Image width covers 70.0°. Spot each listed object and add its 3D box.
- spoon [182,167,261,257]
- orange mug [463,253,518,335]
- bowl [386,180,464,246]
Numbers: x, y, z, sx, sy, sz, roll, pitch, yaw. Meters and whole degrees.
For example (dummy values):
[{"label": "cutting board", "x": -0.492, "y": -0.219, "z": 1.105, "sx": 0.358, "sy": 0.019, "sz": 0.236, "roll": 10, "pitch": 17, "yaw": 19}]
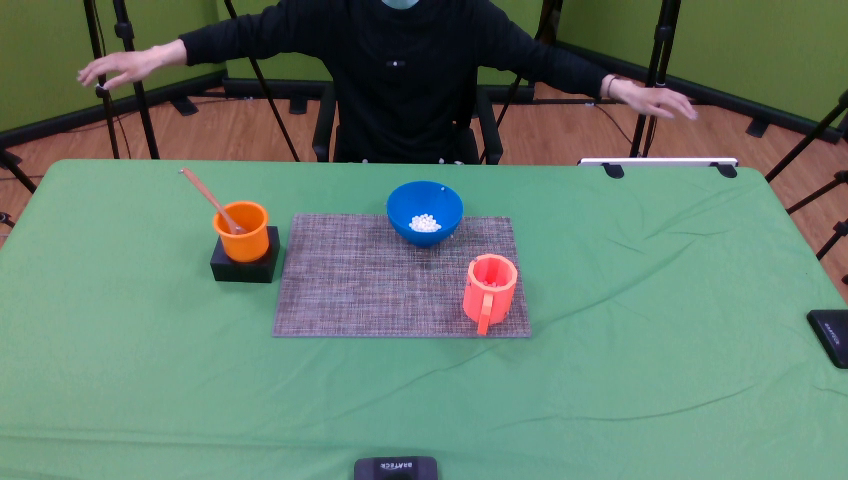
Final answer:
[{"label": "spoon", "x": -0.354, "y": -0.049, "z": 1.061, "sx": 0.041, "sy": 0.194, "sz": 0.021, "roll": -45, "pitch": 19, "yaw": -31}, {"label": "orange mug", "x": 0.113, "y": 0.098, "z": 1.050, "sx": 0.083, "sy": 0.101, "sz": 0.125, "roll": 10, "pitch": 42, "yaw": 6}, {"label": "bowl", "x": 0.000, "y": -0.041, "z": 1.191, "sx": 0.151, "sy": 0.077, "sz": 0.150, "roll": 2, "pitch": 46, "yaw": -2}]
